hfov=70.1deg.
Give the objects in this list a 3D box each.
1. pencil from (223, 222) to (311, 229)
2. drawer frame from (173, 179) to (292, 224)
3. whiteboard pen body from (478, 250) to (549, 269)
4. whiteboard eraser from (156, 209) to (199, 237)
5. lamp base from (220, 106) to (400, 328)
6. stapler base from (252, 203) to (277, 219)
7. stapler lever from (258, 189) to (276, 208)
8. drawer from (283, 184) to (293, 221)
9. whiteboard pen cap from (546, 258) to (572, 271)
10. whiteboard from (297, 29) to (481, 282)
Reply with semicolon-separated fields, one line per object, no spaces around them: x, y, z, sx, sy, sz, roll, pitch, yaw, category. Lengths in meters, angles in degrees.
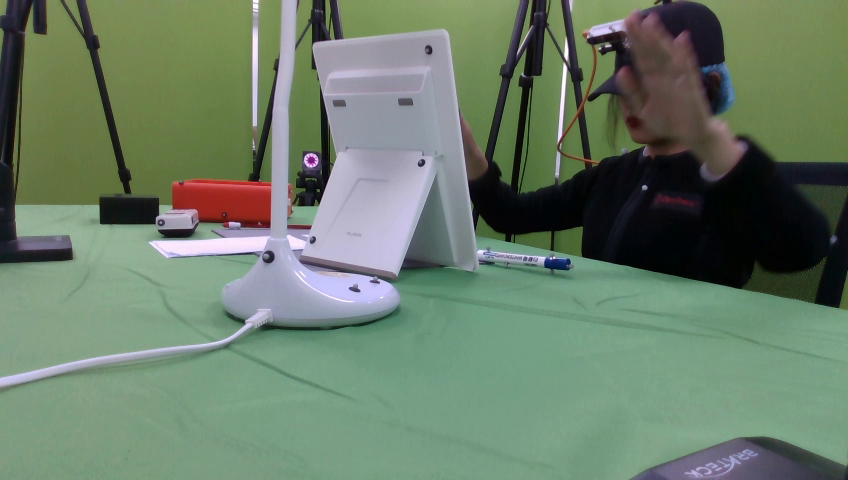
-0.274;-0.025;1.132;0.195;0.012;0.012;1;7;-25;pencil
-0.400;-0.086;1.300;0.214;0.082;0.201;1;8;-8;drawer frame
0.130;0.027;0.827;0.140;0.017;0.017;6;8;38;whiteboard pen body
-0.411;-0.029;1.016;0.056;0.042;0.112;2;7;-16;whiteboard eraser
-0.101;-0.023;0.531;0.160;0.180;0.179;4;10;10;lamp base
-0.341;-0.065;1.301;0.041;0.024;0.130;15;5;-9;stapler base
-0.335;-0.090;1.300;0.027;0.040;0.118;15;4;-9;stapler lever
-0.396;-0.084;1.301;0.212;0.073;0.194;1;8;-7;drawer
0.176;0.032;0.790;0.033;0.018;0.018;3;6;38;whiteboard pen cap
-0.076;-0.082;0.741;0.216;0.305;0.144;9;29;37;whiteboard
